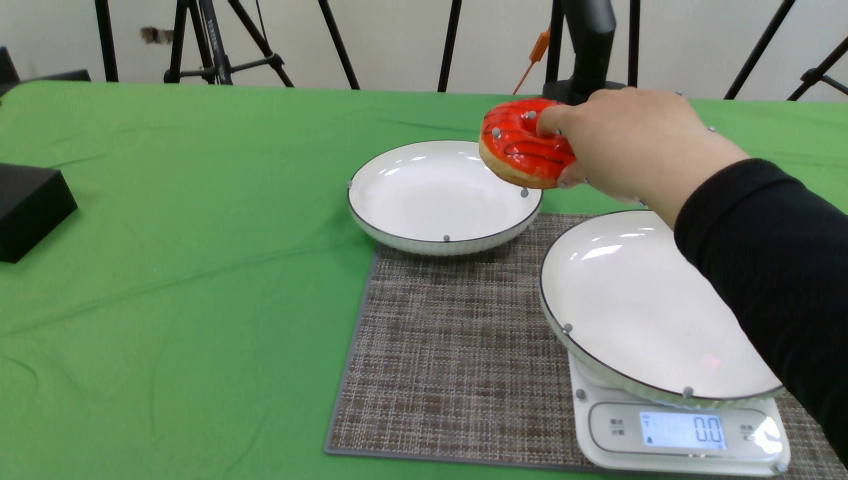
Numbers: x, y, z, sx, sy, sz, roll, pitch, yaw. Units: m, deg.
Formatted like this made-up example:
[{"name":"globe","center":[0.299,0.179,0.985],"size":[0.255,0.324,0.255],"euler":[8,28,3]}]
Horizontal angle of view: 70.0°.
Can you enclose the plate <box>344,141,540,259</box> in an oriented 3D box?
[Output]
[{"name":"plate","center":[0.019,-0.043,0.656],"size":[0.209,0.038,0.207],"euler":[-1,37,1]}]

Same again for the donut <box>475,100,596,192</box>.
[{"name":"donut","center":[0.090,-0.076,0.492],"size":[0.099,0.048,0.098],"euler":[2,44,-2]}]

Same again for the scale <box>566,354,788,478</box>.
[{"name":"scale","center":[0.190,0.091,0.490],"size":[0.148,0.032,0.199],"euler":[2,40,5]}]

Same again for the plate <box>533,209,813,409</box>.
[{"name":"plate","center":[0.191,0.051,0.487],"size":[0.208,0.039,0.205],"euler":[0,40,1]}]
